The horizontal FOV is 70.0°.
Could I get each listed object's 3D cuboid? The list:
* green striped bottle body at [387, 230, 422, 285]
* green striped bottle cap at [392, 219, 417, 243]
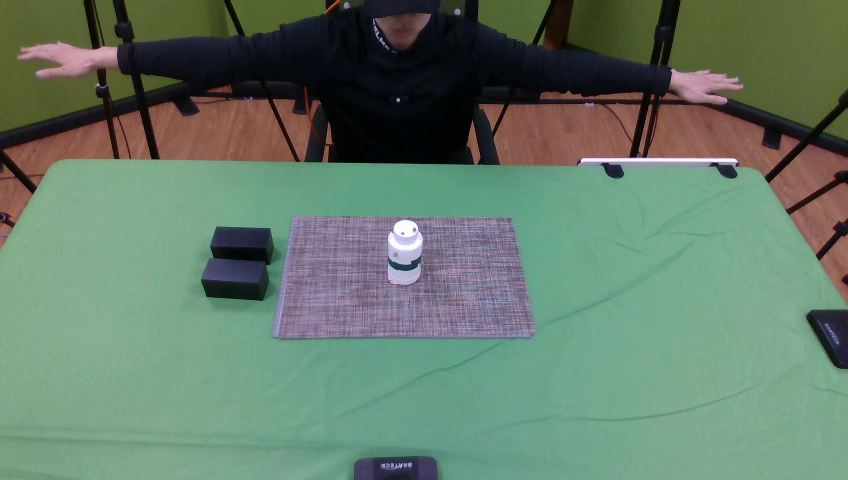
[{"bbox_3d":[-0.036,0.021,1.102,0.063,0.120,0.063,2,46,-2],"label":"green striped bottle body"},{"bbox_3d":[-0.034,-0.016,1.066,0.044,0.020,0.044,4,45,-4],"label":"green striped bottle cap"}]
